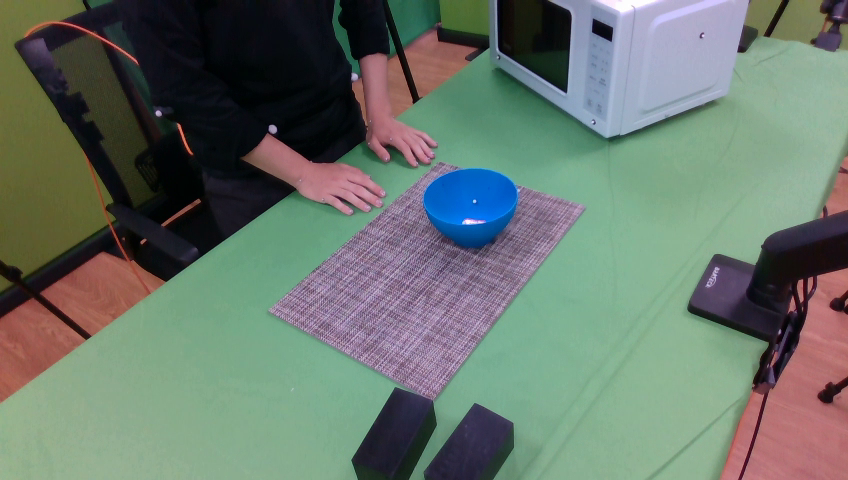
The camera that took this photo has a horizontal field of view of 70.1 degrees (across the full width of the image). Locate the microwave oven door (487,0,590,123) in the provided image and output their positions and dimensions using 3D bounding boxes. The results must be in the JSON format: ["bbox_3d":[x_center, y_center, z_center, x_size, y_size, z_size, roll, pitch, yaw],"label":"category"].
[{"bbox_3d":[0.232,-0.420,1.231,0.039,0.245,0.352,-22,43,-16],"label":"microwave oven door"}]

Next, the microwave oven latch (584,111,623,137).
[{"bbox_3d":[0.337,-0.222,1.142,0.030,0.029,0.078,-21,42,-14],"label":"microwave oven latch"}]

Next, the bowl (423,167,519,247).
[{"bbox_3d":[0.075,-0.041,0.959,0.151,0.077,0.150,-4,40,4],"label":"bowl"}]

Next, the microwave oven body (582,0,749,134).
[{"bbox_3d":[0.382,-0.445,1.246,0.327,0.261,0.437,-22,42,-16],"label":"microwave oven body"}]
